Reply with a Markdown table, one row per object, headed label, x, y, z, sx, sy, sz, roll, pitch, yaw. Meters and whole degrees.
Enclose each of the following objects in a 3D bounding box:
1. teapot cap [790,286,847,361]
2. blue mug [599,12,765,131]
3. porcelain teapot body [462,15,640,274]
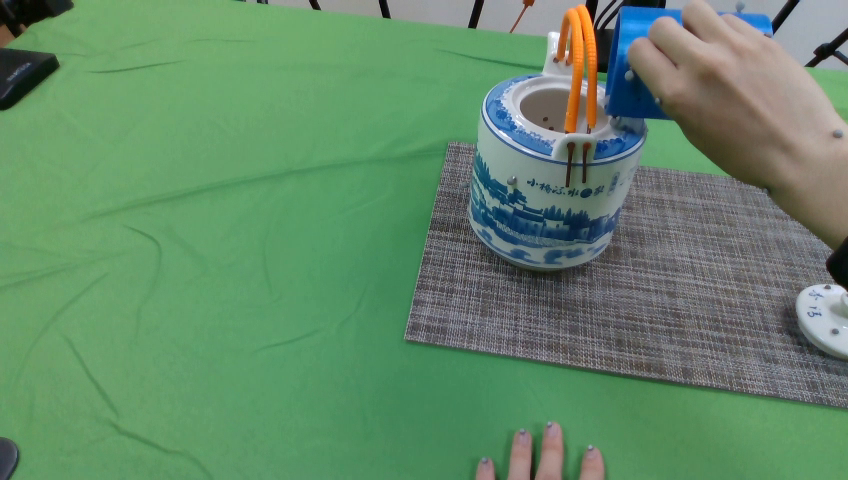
| label | x | y | z | sx | sy | sz | roll | pitch | yaw |
| --- | --- | --- | --- | --- | --- | --- | --- | --- | --- |
| teapot cap | 0.370 | 0.069 | 0.535 | 0.085 | 0.044 | 0.084 | 4 | 43 | -3 |
| blue mug | 0.190 | -0.127 | 0.455 | 0.105 | 0.082 | 0.116 | 7 | 15 | 10 |
| porcelain teapot body | 0.116 | -0.106 | 0.565 | 0.145 | 0.227 | 0.203 | 3 | 44 | -1 |
